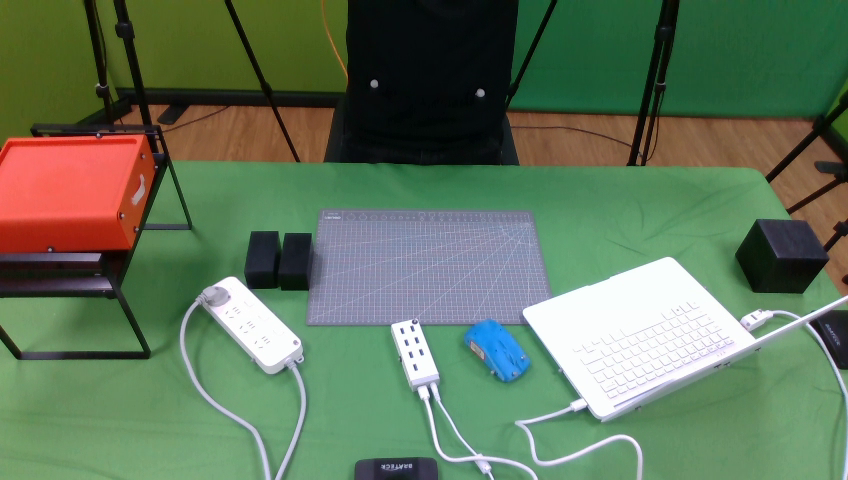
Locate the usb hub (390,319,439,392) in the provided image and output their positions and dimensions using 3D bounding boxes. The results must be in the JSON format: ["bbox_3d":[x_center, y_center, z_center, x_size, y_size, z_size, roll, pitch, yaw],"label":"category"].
[{"bbox_3d":[-0.016,0.190,1.013,0.049,0.025,0.124,-11,48,-15],"label":"usb hub"}]

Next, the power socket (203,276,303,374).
[{"bbox_3d":[-0.296,0.141,1.034,0.072,0.033,0.225,-35,58,-31],"label":"power socket"}]

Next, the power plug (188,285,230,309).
[{"bbox_3d":[-0.369,0.103,1.039,0.072,0.053,0.035,-26,54,-23],"label":"power plug"}]

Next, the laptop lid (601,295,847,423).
[{"bbox_3d":[0.449,0.180,0.905,0.357,0.242,0.013,-17,64,-20],"label":"laptop lid"}]

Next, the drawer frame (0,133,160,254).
[{"bbox_3d":[-0.547,-0.075,0.939,0.214,0.083,0.200,-3,47,-6],"label":"drawer frame"}]

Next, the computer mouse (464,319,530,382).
[{"bbox_3d":[0.124,0.182,1.023,0.063,0.041,0.116,-28,58,-28],"label":"computer mouse"}]

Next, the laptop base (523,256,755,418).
[{"bbox_3d":[0.381,0.159,1.077,0.355,0.023,0.234,-17,47,-19],"label":"laptop base"}]

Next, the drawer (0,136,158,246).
[{"bbox_3d":[-0.545,-0.076,0.941,0.212,0.073,0.193,-2,47,-6],"label":"drawer"}]

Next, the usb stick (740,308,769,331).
[{"bbox_3d":[0.587,0.146,1.088,0.059,0.027,0.021,-21,48,-17],"label":"usb stick"}]
